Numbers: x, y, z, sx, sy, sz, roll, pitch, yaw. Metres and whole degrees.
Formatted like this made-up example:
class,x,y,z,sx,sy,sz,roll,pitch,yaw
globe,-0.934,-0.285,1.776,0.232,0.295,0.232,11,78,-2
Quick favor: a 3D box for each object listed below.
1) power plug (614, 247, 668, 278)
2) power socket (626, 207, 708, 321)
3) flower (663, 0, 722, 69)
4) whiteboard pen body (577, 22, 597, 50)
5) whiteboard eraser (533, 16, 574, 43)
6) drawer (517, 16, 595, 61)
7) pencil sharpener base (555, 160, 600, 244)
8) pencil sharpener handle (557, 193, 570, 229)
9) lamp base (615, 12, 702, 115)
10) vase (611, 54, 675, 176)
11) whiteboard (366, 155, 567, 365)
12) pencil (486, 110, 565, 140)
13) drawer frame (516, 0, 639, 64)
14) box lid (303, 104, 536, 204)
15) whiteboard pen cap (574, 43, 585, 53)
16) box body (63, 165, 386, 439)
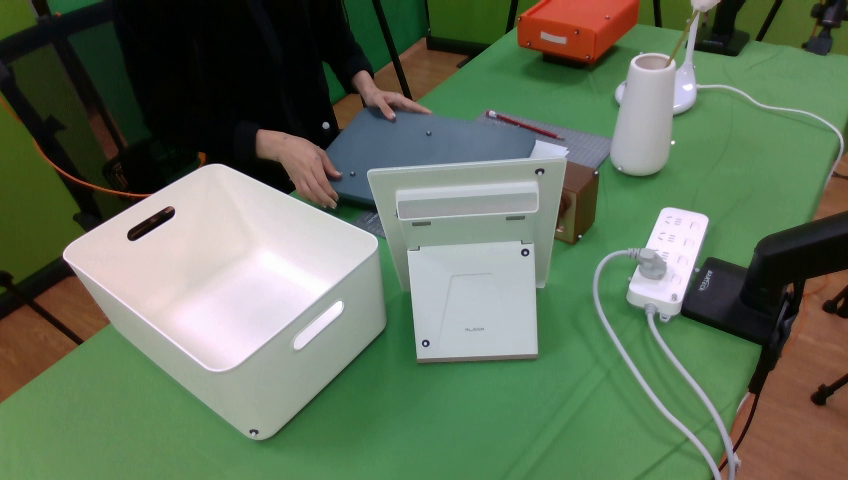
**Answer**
class,x,y,z,sx,sy,sz,roll,pitch,yaw
power plug,0.306,0.031,0.851,0.072,0.053,0.035,24,49,33
power socket,0.359,0.025,0.886,0.072,0.033,0.227,16,46,26
flower,0.379,-0.261,0.965,0.044,0.362,0.038,21,53,5
whiteboard pen body,0.372,-0.468,1.390,0.017,0.017,0.141,14,47,23
whiteboard eraser,0.305,-0.493,1.423,0.055,0.042,0.113,26,43,25
drawer,0.353,-0.505,1.404,0.193,0.073,0.212,25,50,33
pencil sharpener base,0.228,-0.057,0.945,0.061,0.107,0.077,24,50,31
pencil sharpener handle,0.195,-0.038,0.908,0.035,0.068,0.031,24,50,30
lamp base,0.484,-0.364,1.211,0.180,0.181,0.159,-15,41,-14
vase,0.377,-0.209,1.031,0.098,0.201,0.097,-3,40,3
whiteboard,0.059,0.050,0.738,0.217,0.307,0.143,-3,60,5
pencil,0.203,-0.232,1.226,0.192,0.012,0.012,29,52,33
drawer frame,0.356,-0.507,1.410,0.200,0.083,0.214,25,51,32
box lid,-0.005,-0.146,1.084,0.369,0.015,0.263,13,50,20
whiteboard pen cap,0.346,-0.430,1.350,0.018,0.018,0.033,15,37,24
box body,-0.257,0.068,0.824,0.361,0.161,0.255,24,49,31
